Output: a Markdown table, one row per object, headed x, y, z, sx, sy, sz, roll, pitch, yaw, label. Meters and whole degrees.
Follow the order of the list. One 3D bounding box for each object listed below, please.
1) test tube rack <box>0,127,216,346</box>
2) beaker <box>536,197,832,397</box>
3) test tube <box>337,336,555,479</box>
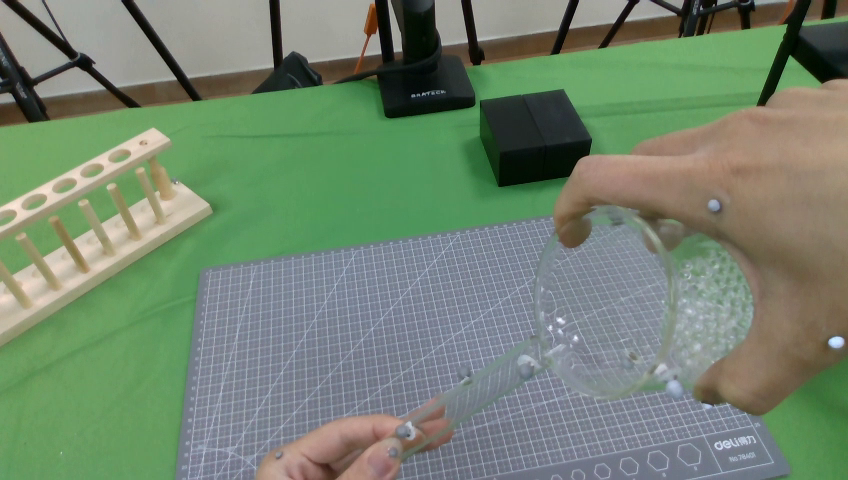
| x | y | z | sx | sy | sz | roll | pitch | yaw | label |
| --- | --- | --- | --- | --- | --- | --- | --- | --- | --- |
| -0.337 | -0.009 | 0.594 | 0.066 | 0.086 | 0.242 | 32 | 56 | 30 | test tube rack |
| 0.108 | 0.028 | 0.255 | 0.101 | 0.084 | 0.073 | 4 | 51 | -26 | beaker |
| 0.004 | 0.089 | 0.297 | 0.017 | 0.150 | 0.017 | 33 | 34 | -25 | test tube |
